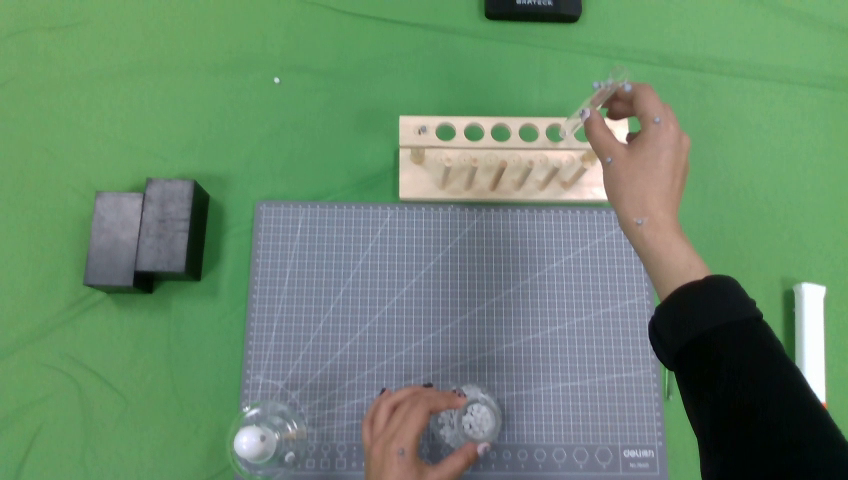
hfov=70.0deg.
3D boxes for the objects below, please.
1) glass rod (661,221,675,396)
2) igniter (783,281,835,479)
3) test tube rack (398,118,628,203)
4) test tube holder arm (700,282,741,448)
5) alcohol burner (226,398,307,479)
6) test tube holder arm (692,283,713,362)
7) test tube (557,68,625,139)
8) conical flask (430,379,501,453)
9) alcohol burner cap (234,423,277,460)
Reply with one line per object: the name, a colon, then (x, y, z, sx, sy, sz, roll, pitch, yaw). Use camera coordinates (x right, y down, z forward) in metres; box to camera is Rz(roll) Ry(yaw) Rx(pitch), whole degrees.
glass rod: (0.275, 0.074, 0.680, 0.008, 0.008, 0.199, 8, 78, -1)
igniter: (0.413, 0.181, 0.651, 0.057, 0.025, 0.275, 11, 76, -10)
test tube rack: (0.093, -0.086, 0.672, 0.242, 0.085, 0.066, 0, 76, -2)
test tube holder arm: (0.322, 0.134, 0.661, 0.013, 0.015, 0.177, -16, 74, 32)
alcohol burner: (-0.154, 0.190, 0.577, 0.078, 0.119, 0.077, 0, 75, 0)
test tube holder arm: (0.312, 0.092, 0.674, 0.010, 0.015, 0.087, -14, 75, 32)
test tube: (0.148, -0.120, 0.552, 0.017, 0.150, 0.017, 0, 83, -3)
conical flask: (0.045, 0.172, 0.586, 0.075, 0.122, 0.075, 1, 76, -2)
alcohol burner cap: (-0.153, 0.179, 0.543, 0.034, 0.048, 0.033, 1, 68, -2)
